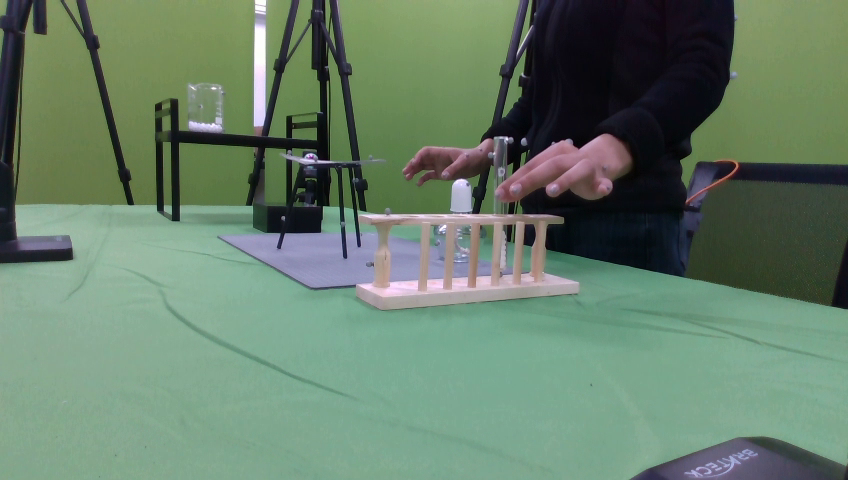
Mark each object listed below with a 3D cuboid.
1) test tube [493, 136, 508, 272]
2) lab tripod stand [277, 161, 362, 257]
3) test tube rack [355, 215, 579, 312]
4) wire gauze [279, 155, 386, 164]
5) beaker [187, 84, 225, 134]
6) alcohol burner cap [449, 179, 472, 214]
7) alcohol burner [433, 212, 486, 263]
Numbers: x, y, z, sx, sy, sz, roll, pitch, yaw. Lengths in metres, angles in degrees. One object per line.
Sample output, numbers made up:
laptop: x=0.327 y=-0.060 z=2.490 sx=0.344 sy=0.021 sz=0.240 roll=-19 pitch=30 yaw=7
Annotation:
test tube: x=0.084 y=-0.038 z=0.668 sx=0.017 sy=0.150 sz=0.017 roll=0 pitch=7 yaw=0
lab tripod stand: x=-0.143 y=-0.049 z=0.884 sx=0.148 sy=0.131 sz=0.148 roll=2 pitch=9 yaw=0
test tube rack: x=0.053 y=0.018 z=0.641 sx=0.243 sy=0.085 sz=0.066 roll=-1 pitch=8 yaw=-29
wire gauze: x=-0.134 y=-0.114 z=0.875 sx=0.122 sy=0.011 sz=0.124 roll=-1 pitch=8 yaw=-30
beaker: x=-0.459 y=-0.274 z=1.271 sx=0.074 sy=0.100 sz=0.084 roll=3 pitch=8 yaw=7
alcohol burner cap: x=0.052 y=-0.063 z=0.858 sx=0.034 sy=0.048 sz=0.034 roll=2 pitch=13 yaw=0
alcohol burner: x=0.051 y=-0.027 z=0.863 sx=0.078 sy=0.119 sz=0.078 roll=2 pitch=6 yaw=0
